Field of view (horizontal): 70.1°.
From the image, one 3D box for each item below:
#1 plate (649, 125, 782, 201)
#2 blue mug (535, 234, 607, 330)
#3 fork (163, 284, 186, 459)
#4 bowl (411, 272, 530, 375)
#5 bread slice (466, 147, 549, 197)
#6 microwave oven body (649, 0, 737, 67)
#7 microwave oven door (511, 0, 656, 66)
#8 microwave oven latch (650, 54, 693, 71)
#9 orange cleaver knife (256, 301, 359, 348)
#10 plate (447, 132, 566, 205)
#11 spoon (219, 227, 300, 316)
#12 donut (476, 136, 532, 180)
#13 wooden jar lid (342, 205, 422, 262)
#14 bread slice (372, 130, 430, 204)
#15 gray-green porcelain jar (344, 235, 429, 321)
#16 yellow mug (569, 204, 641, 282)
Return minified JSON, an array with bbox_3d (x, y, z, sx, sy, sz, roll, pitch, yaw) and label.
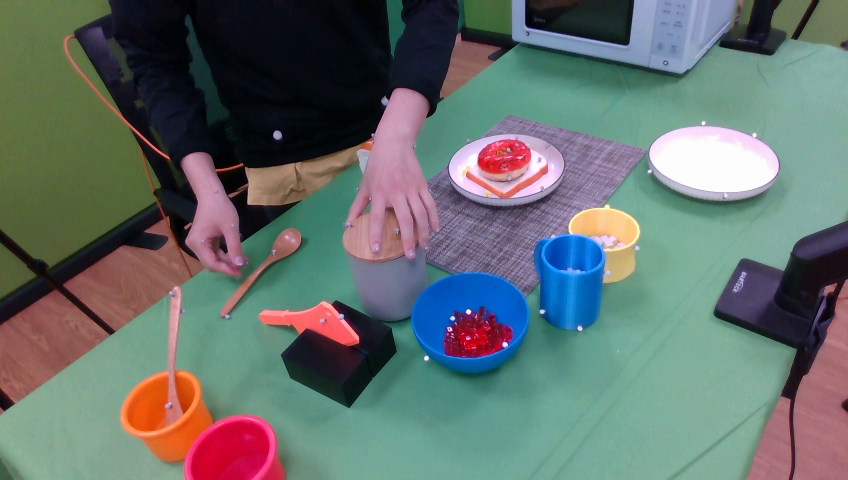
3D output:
[{"bbox_3d":[0.493,-0.127,1.036,0.207,0.039,0.206,-4,41,4],"label":"plate"},{"bbox_3d":[0.191,0.048,0.824,0.082,0.106,0.115,-26,44,-20],"label":"blue mug"},{"bbox_3d":[-0.302,0.157,0.733,0.028,0.019,0.207,-3,84,14],"label":"fork"},{"bbox_3d":[0.061,0.120,0.780,0.151,0.077,0.150,-4,40,4],"label":"bowl"},{"bbox_3d":[0.156,-0.128,1.085,0.132,0.019,0.104,-34,49,-23],"label":"bread slice"},{"bbox_3d":[0.475,-0.602,1.411,0.438,0.261,0.327,23,50,32],"label":"microwave oven body"},{"bbox_3d":[0.351,-0.539,1.348,0.353,0.245,0.039,24,50,31],"label":"microwave oven door"},{"bbox_3d":[0.531,-0.386,1.301,0.078,0.029,0.030,26,51,33],"label":"microwave oven latch"},{"bbox_3d":[-0.160,0.115,0.813,0.210,0.077,0.012,-9,29,48],"label":"orange cleaver knife"},{"bbox_3d":[0.146,-0.124,1.076,0.209,0.038,0.208,-4,41,4],"label":"plate"},{"bbox_3d":[-0.261,0.046,0.954,0.041,0.021,0.194,27,48,9],"label":"spoon"},{"bbox_3d":[0.140,-0.146,1.058,0.099,0.048,0.098,-7,41,6],"label":"donut"},{"bbox_3d":[-0.055,-0.005,0.808,0.108,0.021,0.108,-6,40,6],"label":"wooden jar lid"},{"bbox_3d":[-0.043,-0.127,1.038,0.106,0.135,0.018,29,61,33],"label":"bread slice"},{"bbox_3d":[-0.049,0.042,0.849,0.106,0.127,0.105,-4,41,4],"label":"gray-green porcelain jar"},{"bbox_3d":[0.268,-0.005,0.904,0.099,0.064,0.130,7,41,15],"label":"yellow mug"}]
